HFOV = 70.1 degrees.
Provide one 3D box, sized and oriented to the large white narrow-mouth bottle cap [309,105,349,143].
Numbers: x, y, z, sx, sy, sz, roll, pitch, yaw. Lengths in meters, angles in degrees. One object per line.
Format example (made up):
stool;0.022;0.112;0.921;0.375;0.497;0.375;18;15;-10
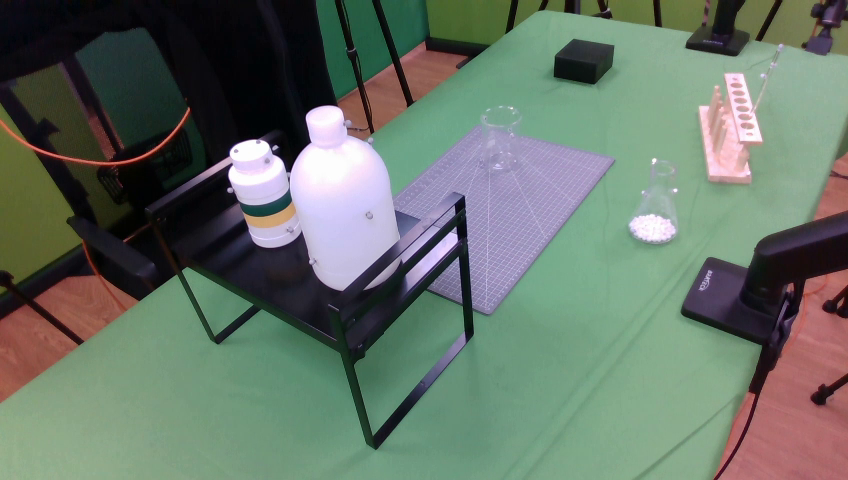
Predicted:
large white narrow-mouth bottle cap;-0.090;-0.111;0.576;0.038;0.024;0.037;-4;39;3

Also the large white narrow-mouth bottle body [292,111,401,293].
large white narrow-mouth bottle body;-0.083;-0.043;0.630;0.102;0.195;0.101;-4;39;4

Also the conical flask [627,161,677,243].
conical flask;0.355;-0.061;0.921;0.075;0.122;0.075;-4;41;4

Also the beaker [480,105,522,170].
beaker;0.145;-0.187;1.112;0.084;0.101;0.073;-35;48;-29

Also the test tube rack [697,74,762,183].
test tube rack;0.547;-0.208;1.095;0.066;0.085;0.242;5;42;15

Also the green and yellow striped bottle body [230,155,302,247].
green and yellow striped bottle body;-0.188;-0.055;0.714;0.063;0.120;0.063;-4;41;4

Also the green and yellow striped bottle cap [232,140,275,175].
green and yellow striped bottle cap;-0.192;-0.094;0.680;0.045;0.020;0.045;-5;39;5

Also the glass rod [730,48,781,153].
glass rod;0.554;-0.228;1.015;0.008;0.200;0.008;1;44;-1
